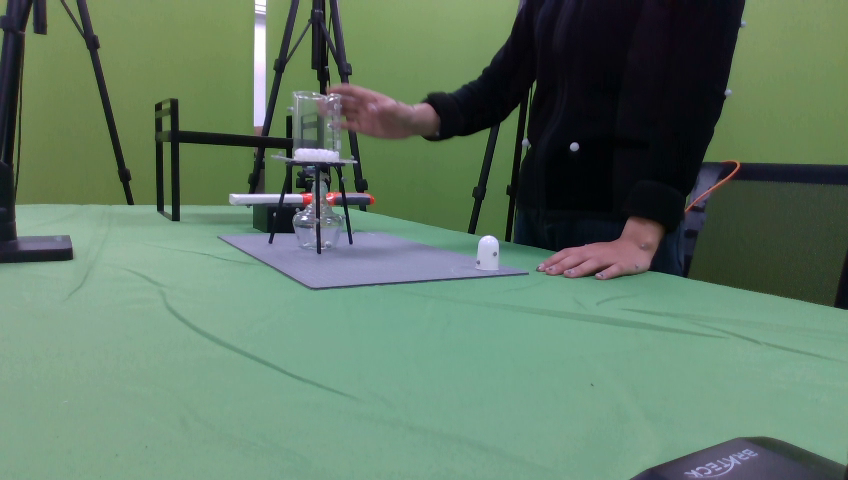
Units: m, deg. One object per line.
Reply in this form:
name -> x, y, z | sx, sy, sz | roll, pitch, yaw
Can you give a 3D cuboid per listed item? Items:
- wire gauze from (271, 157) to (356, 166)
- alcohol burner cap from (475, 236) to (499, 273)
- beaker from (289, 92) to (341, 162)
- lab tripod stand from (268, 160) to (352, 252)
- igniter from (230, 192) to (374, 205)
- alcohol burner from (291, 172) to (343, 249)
wire gauze -> -0.166, -0.120, 0.917 | 0.125, 0.011, 0.121 | -2, 6, -8
alcohol burner cap -> 0.084, 0.018, 0.799 | 0.034, 0.048, 0.034 | 2, 7, 0
beaker -> -0.160, -0.166, 0.902 | 0.074, 0.100, 0.083 | -4, 9, -30
lab tripod stand -> -0.171, -0.055, 0.921 | 0.148, 0.131, 0.148 | 1, 8, 0
igniter -> -0.228, -0.079, 1.164 | 0.278, 0.025, 0.057 | -2, 15, -30
alcohol burner -> -0.162, -0.045, 0.922 | 0.078, 0.119, 0.078 | 5, 7, 0
